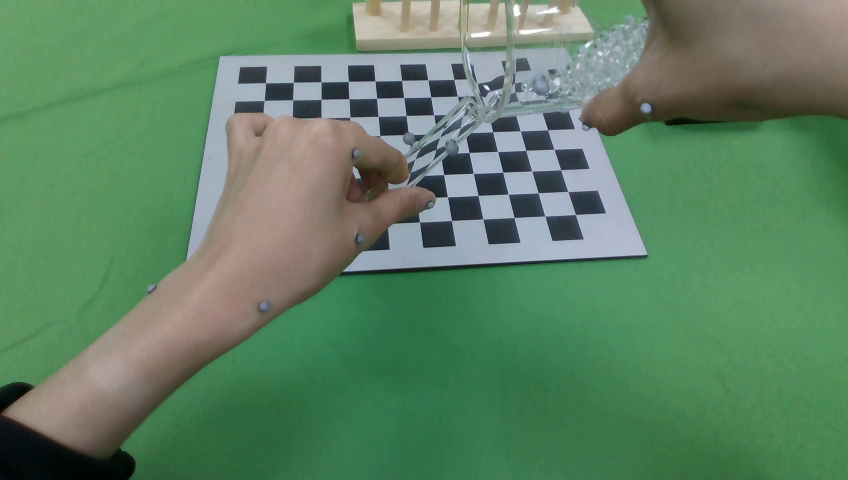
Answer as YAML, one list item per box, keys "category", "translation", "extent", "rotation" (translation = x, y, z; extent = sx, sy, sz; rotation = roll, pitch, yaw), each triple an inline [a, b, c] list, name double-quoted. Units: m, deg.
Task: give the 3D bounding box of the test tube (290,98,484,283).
- category: "test tube"
  translation: [-0.026, -0.022, 0.328]
  extent: [0.017, 0.150, 0.017]
  rotation: [37, 29, -24]

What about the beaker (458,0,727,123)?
- category: "beaker"
  translation: [0.072, -0.093, 0.272]
  extent: [0.100, 0.084, 0.073]
  rotation: [-8, 56, -9]

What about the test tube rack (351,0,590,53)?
- category: "test tube rack"
  translation: [0.049, -0.247, 0.604]
  extent: [0.243, 0.086, 0.066]
  rotation: [-4, 52, -7]
